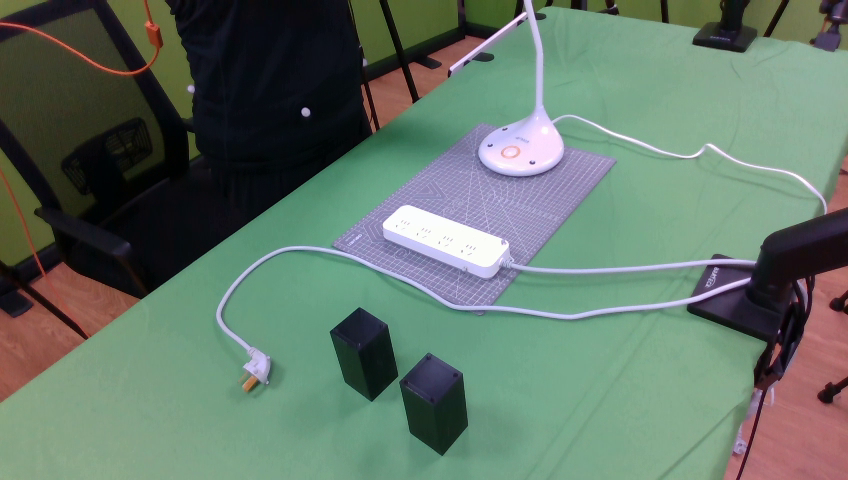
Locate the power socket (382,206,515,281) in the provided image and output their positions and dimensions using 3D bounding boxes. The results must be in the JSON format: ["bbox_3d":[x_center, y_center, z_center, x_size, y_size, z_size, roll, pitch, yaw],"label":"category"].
[{"bbox_3d":[0.032,0.002,0.950,0.225,0.033,0.072,21,49,29],"label":"power socket"}]

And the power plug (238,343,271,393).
[{"bbox_3d":[-0.230,0.172,0.801,0.072,0.035,0.053,9,51,50],"label":"power plug"}]

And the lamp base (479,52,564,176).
[{"bbox_3d":[0.181,-0.235,1.094,0.159,0.181,0.179,18,44,27],"label":"lamp base"}]
